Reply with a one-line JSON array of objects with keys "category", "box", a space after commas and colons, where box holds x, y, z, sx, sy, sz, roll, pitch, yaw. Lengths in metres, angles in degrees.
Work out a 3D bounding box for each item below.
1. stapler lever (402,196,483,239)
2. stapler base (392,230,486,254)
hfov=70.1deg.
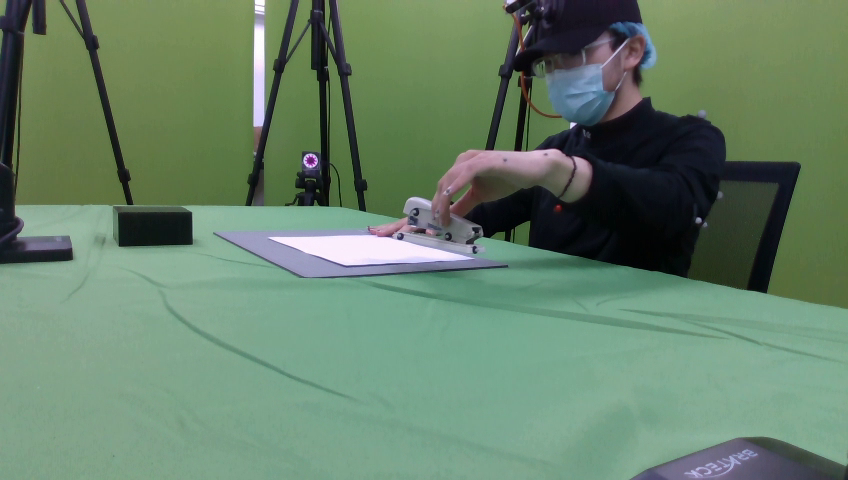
[{"category": "stapler lever", "box": [0.022, -0.029, 0.774, 0.117, 0.040, 0.027, 13, 12, 37]}, {"category": "stapler base", "box": [0.018, -0.005, 0.778, 0.130, 0.024, 0.041, 13, 11, 37]}]
